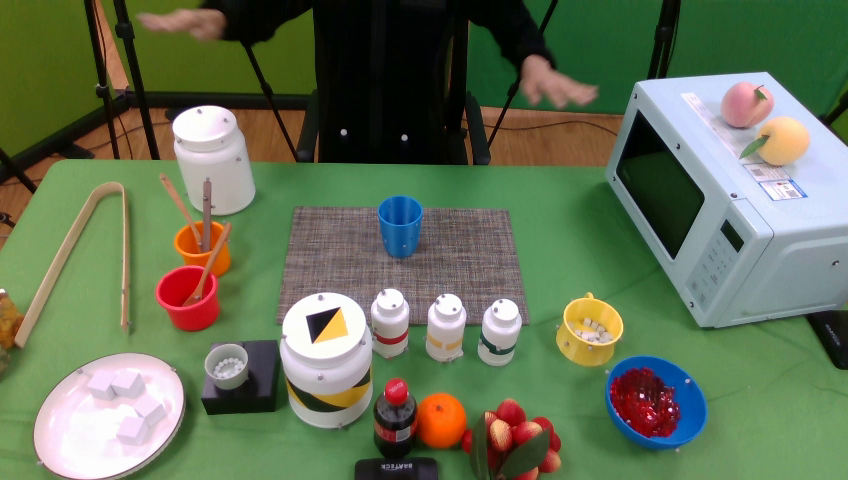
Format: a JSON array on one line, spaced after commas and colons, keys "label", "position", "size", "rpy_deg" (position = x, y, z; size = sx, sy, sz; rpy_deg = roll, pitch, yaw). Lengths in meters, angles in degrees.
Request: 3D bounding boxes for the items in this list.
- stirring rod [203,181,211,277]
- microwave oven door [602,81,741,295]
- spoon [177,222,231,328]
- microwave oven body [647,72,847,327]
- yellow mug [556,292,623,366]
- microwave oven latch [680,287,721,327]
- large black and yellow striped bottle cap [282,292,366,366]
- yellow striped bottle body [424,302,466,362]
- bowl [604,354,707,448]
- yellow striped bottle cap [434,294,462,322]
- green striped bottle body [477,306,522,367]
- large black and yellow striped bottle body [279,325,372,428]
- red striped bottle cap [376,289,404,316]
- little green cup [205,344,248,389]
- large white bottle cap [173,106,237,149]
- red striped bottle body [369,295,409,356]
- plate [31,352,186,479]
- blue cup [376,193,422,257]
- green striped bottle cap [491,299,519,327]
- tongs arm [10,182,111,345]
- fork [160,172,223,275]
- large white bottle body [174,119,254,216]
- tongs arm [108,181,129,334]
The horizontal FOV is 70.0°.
[{"label": "stirring rod", "position": [-0.396, -0.021, 1.108], "size": [0.014, 0.006, 0.176], "rpy_deg": [-1, 89, -1]}, {"label": "microwave oven door", "position": [0.456, -0.107, 1.162], "size": [0.039, 0.245, 0.353], "rpy_deg": [-7, 47, -11]}, {"label": "spoon", "position": [-0.369, 0.059, 1.027], "size": [0.041, 0.022, 0.193], "rpy_deg": [25, 94, 18]}, {"label": "microwave oven body", "position": [0.607, -0.089, 1.164], "size": [0.326, 0.261, 0.438], "rpy_deg": [-7, 46, -10]}, {"label": "yellow mug", "position": [0.285, 0.145, 1.051], "size": [0.100, 0.064, 0.130], "rpy_deg": [7, 46, 3]}, {"label": "microwave oven latch", "position": [0.494, 0.119, 1.087], "size": [0.030, 0.029, 0.078], "rpy_deg": [-6, 46, -9]}, {"label": "large black and yellow striped bottle cap", "position": [-0.138, 0.121, 0.841], "size": [0.115, 0.019, 0.114], "rpy_deg": [3, 47, -3]}, {"label": "yellow striped bottle body", "position": [0.035, 0.143, 0.995], "size": [0.063, 0.121, 0.062], "rpy_deg": [3, 46, -3]}, {"label": "bowl", "position": [0.346, 0.261, 0.937], "size": [0.151, 0.077, 0.150], "rpy_deg": [2, 46, -2]}, {"label": "yellow striped bottle cap", "position": [0.038, 0.107, 0.958], "size": [0.044, 0.019, 0.044], "rpy_deg": [2, 45, -2]}, {"label": "green striped bottle body", "position": [0.124, 0.151, 0.995], "size": [0.063, 0.120, 0.063], "rpy_deg": [2, 46, -2]}, {"label": "large black and yellow striped bottle body", "position": [-0.143, 0.181, 0.900], "size": [0.131, 0.185, 0.130], "rpy_deg": [2, 46, -2]}, {"label": "red striped bottle cap", "position": [-0.055, 0.098, 0.958], "size": [0.044, 0.018, 0.044], "rpy_deg": [0, 48, 0]}, {"label": "little green cup", "position": [-0.293, 0.191, 0.909], "size": [0.061, 0.039, 0.061], "rpy_deg": [1, 47, -1]}, {"label": "large white bottle cap", "position": [-0.411, -0.212, 1.138], "size": [0.115, 0.018, 0.114], "rpy_deg": [2, 47, -2]}, {"label": "red striped bottle body", "position": [-0.059, 0.134, 0.997], "size": [0.063, 0.120, 0.062], "rpy_deg": [5, 48, -5]}, {"label": "plate", "position": [-0.459, 0.262, 0.898], "size": [0.209, 0.038, 0.208], "rpy_deg": [2, 46, -2]}, {"label": "blue cup", "position": [-0.047, -0.021, 1.155], "size": [0.093, 0.101, 0.092], "rpy_deg": [1, 47, -1]}, {"label": "green striped bottle cap", "position": [0.128, 0.115, 0.958], "size": [0.044, 0.020, 0.044], "rpy_deg": [1, 47, -1]}, {"label": "tongs arm", "position": [-0.658, 0.027, 1.109], "size": [0.028, 0.028, 0.385], "rpy_deg": [-2, 45, 2]}, {"label": "fork", "position": [-0.426, -0.030, 1.103], "size": [0.028, 0.018, 0.207], "rpy_deg": [-29, 99, -19]}, {"label": "large white bottle body", "position": [-0.415, -0.154, 1.199], "size": [0.131, 0.185, 0.130], "rpy_deg": [2, 46, -2]}, {"label": "tongs arm", "position": [-0.571, 0.019, 1.123], "size": [0.051, 0.026, 0.382], "rpy_deg": [-11, 47, -11]}]
